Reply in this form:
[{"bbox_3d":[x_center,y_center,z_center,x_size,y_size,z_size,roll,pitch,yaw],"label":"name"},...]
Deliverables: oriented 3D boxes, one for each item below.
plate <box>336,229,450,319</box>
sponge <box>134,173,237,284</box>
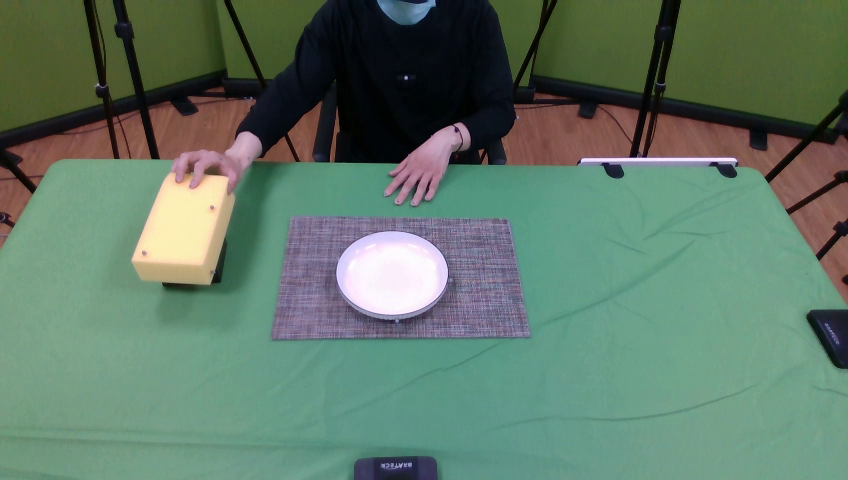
[{"bbox_3d":[-0.056,0.065,1.113,0.208,0.039,0.206,2,46,-2],"label":"plate"},{"bbox_3d":[-0.421,-0.024,1.085,0.118,0.061,0.205,3,52,-2],"label":"sponge"}]
